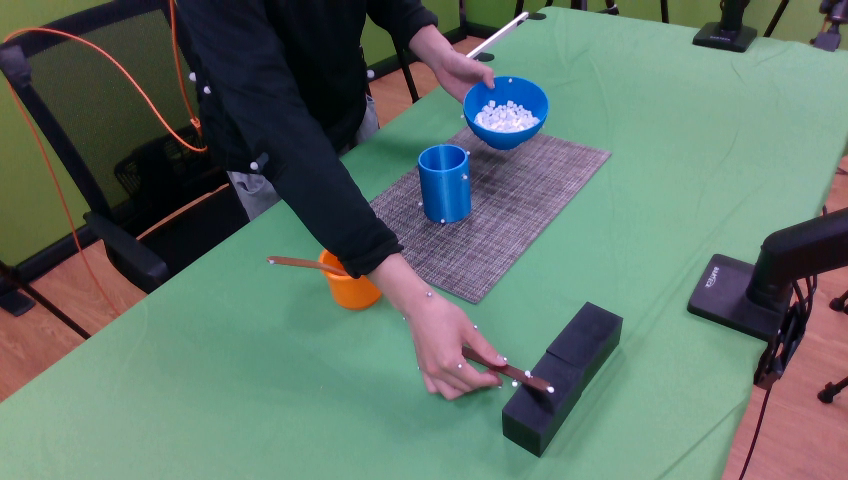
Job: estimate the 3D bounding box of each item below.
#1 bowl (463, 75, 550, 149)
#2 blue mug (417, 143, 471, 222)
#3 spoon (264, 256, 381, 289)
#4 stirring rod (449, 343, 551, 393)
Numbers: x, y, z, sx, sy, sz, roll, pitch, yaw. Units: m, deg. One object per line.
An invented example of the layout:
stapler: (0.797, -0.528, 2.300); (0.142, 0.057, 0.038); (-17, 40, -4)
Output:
bowl: (0.144, -0.216, 1.077); (0.151, 0.077, 0.150); (-1, 54, 2)
blue mug: (0.031, -0.105, 1.014); (0.082, 0.106, 0.115); (-14, 41, -7)
spoon: (-0.137, 0.042, 0.842); (0.021, 0.195, 0.041); (-56, 47, 13)
stirring rod: (0.088, 0.154, 0.741); (0.014, 0.006, 0.174); (-39, 28, -25)
